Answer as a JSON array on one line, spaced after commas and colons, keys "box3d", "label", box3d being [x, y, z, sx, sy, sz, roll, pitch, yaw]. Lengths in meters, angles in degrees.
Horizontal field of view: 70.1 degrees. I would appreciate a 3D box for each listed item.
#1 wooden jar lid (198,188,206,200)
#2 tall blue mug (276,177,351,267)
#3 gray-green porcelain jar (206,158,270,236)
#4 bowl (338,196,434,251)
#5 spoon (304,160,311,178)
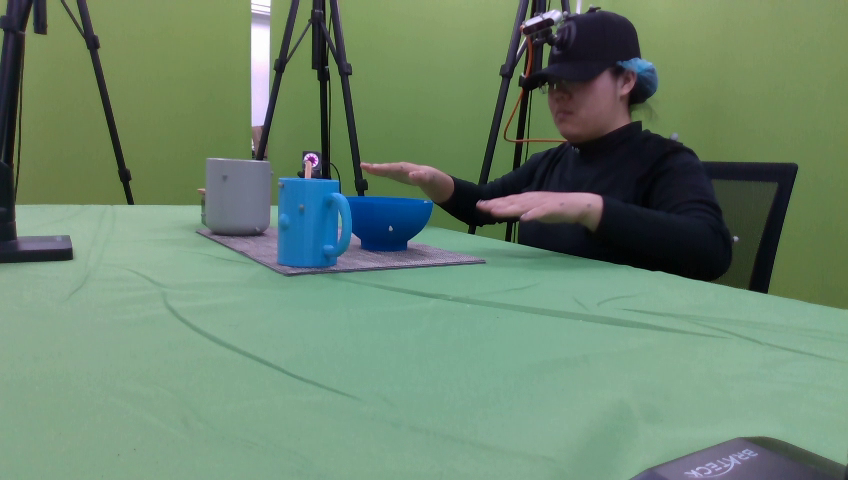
[{"box3d": [-0.382, -0.088, 1.175, 0.108, 0.020, 0.108, 3, 8, 0], "label": "wooden jar lid"}, {"box3d": [-0.133, -0.023, 0.767, 0.107, 0.108, 0.078, 4, 7, 12], "label": "tall blue mug"}, {"box3d": [-0.317, -0.074, 1.031, 0.106, 0.126, 0.106, 3, 7, 0], "label": "gray-green porcelain jar"}, {"box3d": [-0.061, -0.026, 0.943, 0.151, 0.077, 0.151, 2, 7, 0], "label": "bowl"}, {"box3d": [-0.243, -0.103, 1.251, 0.042, 0.021, 0.193, 0, 51, -6], "label": "spoon"}]
